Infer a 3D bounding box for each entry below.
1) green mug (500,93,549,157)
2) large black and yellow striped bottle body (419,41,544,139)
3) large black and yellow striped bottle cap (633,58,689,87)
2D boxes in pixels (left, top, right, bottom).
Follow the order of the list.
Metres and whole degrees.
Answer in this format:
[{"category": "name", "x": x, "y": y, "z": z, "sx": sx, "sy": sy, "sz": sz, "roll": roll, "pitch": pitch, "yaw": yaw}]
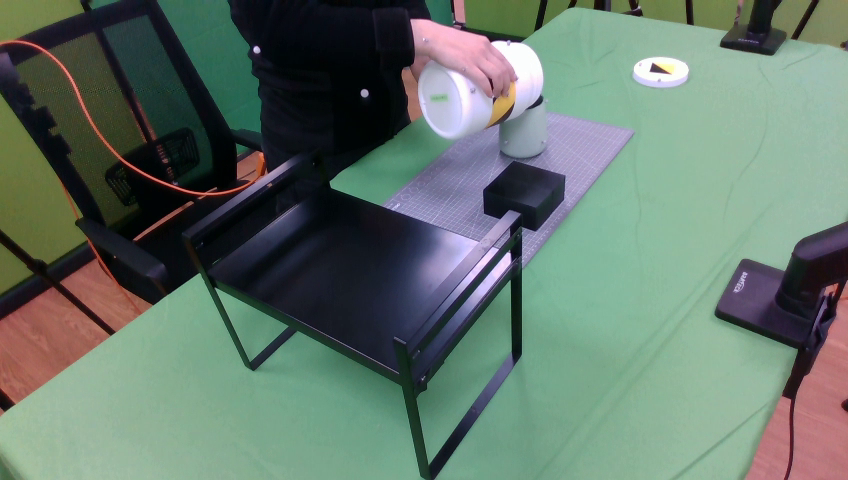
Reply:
[{"category": "green mug", "x": 0.196, "y": -0.229, "z": 1.145, "sx": 0.092, "sy": 0.105, "sz": 0.125, "roll": 15, "pitch": 46, "yaw": 25}, {"category": "large black and yellow striped bottle body", "x": 0.098, "y": -0.255, "z": 1.009, "sx": 0.185, "sy": 0.131, "sz": 0.129, "roll": -25, "pitch": 43, "yaw": -30}, {"category": "large black and yellow striped bottle cap", "x": 0.522, "y": -0.370, "z": 1.331, "sx": 0.115, "sy": 0.019, "sz": 0.114, "roll": -3, "pitch": 41, "yaw": 4}]
